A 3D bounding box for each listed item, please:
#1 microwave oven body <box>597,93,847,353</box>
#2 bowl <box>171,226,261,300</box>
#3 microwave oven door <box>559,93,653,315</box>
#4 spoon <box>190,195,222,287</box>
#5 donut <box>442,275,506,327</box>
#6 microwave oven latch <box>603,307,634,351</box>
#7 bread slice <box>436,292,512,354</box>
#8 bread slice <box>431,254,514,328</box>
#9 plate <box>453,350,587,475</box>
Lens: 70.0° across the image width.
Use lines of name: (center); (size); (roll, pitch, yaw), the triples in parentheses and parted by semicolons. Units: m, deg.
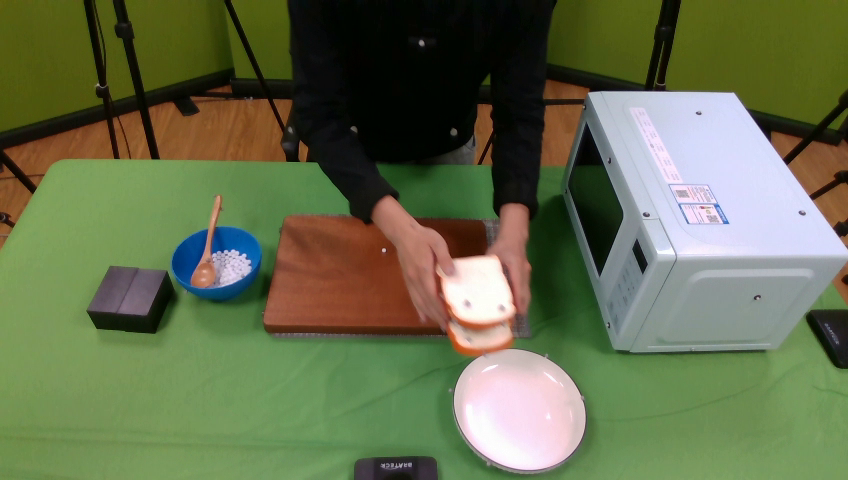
microwave oven body: (0.475, -0.041, 1.109); (0.326, 0.261, 0.438); (-1, 45, -4)
bowl: (-0.364, 0.054, 1.081); (0.151, 0.077, 0.150); (3, 45, -3)
microwave oven door: (0.327, -0.075, 1.123); (0.039, 0.245, 0.353); (-1, 46, -5)
spoon: (-0.383, 0.000, 1.088); (0.041, 0.022, 0.193); (1, 66, 3)
donut: (0.076, 0.093, 0.925); (0.099, 0.048, 0.098); (-2, 36, 2)
microwave oven latch: (0.332, 0.153, 1.044); (0.030, 0.029, 0.078); (0, 45, -3)
bread slice: (0.082, 0.120, 0.936); (0.105, 0.019, 0.130); (-7, 41, -8)
bread slice: (0.078, 0.074, 0.901); (0.107, 0.018, 0.133); (-7, 44, -12)
plate: (0.147, 0.267, 0.943); (0.208, 0.039, 0.206); (2, 46, -2)
